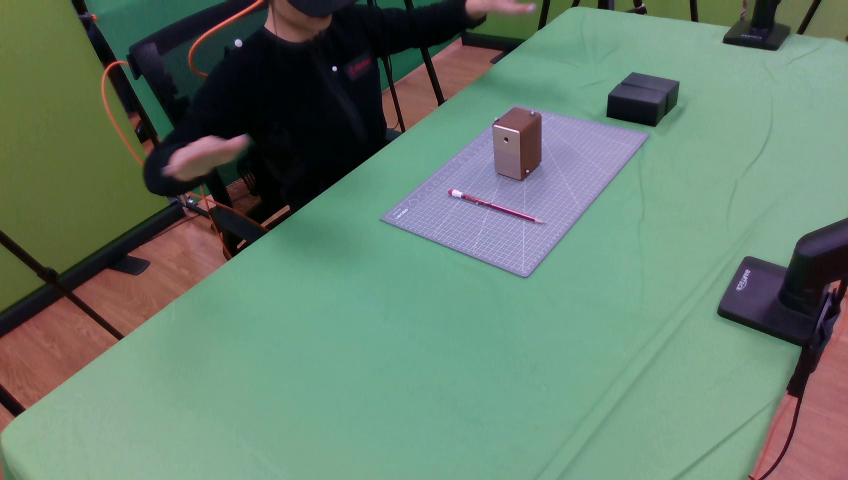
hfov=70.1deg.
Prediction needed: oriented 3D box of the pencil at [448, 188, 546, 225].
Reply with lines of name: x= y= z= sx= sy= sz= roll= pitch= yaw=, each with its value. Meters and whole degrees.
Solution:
pencil: x=0.122 y=-0.057 z=1.033 sx=0.192 sy=0.012 sz=0.012 roll=22 pitch=50 yaw=30

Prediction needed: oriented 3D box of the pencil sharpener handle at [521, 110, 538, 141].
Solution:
pencil sharpener handle: x=0.198 y=-0.214 z=1.106 sx=0.036 sy=0.068 sz=0.031 roll=30 pitch=53 yaw=25

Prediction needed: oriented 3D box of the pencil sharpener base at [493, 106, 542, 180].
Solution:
pencil sharpener base: x=0.170 y=-0.175 z=1.085 sx=0.061 sy=0.107 sz=0.077 roll=23 pitch=49 yaw=33
